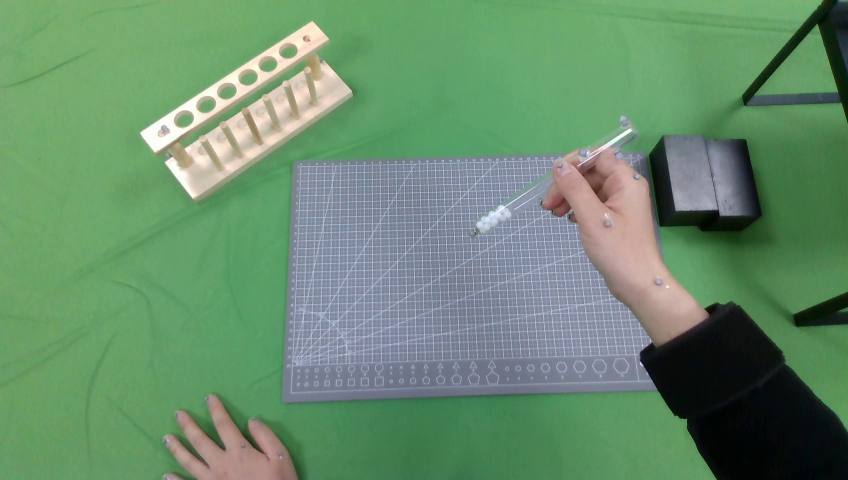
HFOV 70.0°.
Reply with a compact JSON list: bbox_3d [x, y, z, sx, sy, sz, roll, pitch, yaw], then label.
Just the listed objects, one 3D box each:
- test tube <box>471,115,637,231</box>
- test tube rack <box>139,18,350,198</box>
[{"bbox_3d":[0.097,-0.048,0.474,0.150,0.017,0.017,-34,70,28],"label":"test tube"},{"bbox_3d":[-0.211,-0.161,0.744,0.242,0.085,0.066,-38,75,-12],"label":"test tube rack"}]
